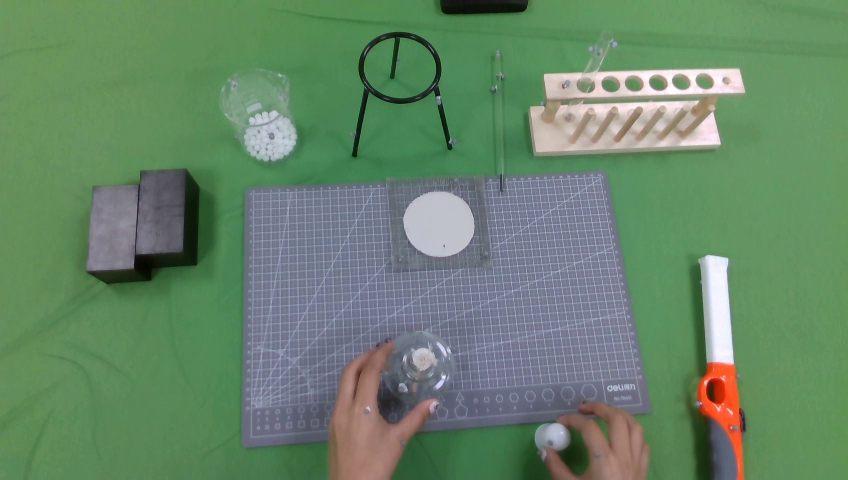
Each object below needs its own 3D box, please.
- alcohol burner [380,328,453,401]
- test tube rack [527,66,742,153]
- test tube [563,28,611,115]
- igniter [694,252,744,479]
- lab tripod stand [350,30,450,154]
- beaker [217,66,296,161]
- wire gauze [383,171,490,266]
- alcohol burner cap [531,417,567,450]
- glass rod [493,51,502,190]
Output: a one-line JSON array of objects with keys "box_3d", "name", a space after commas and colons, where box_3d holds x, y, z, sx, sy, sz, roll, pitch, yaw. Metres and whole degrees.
[{"box_3d": [-0.007, 0.126, 0.627, 0.078, 0.119, 0.077, 2, 70, -5], "name": "alcohol burner"}, {"box_3d": [0.259, -0.161, 0.755, 0.243, 0.085, 0.066, -3, 72, -5], "name": "test tube rack"}, {"box_3d": [0.187, -0.191, 0.708, 0.017, 0.151, 0.017, 1, 69, -2], "name": "test tube"}, {"box_3d": [0.334, 0.148, 0.692, 0.057, 0.025, 0.275, 9, 72, -12], "name": "igniter"}, {"box_3d": [-0.033, -0.172, 0.713, 0.148, 0.132, 0.147, 1, 71, -2], "name": "lab tripod stand"}, {"box_3d": [-0.189, -0.145, 0.711, 0.084, 0.101, 0.073, -42, 79, -16], "name": "beaker"}, {"box_3d": [0.015, -0.027, 0.733, 0.125, 0.011, 0.120, -2, 71, -3], "name": "wire gauze"}, {"box_3d": [0.137, 0.207, 0.652, 0.034, 0.048, 0.033, 3, 66, -6], "name": "alcohol burner cap"}, {"box_3d": [0.095, -0.156, 0.781, 0.008, 0.008, 0.198, 2, 74, -4], "name": "glass rod"}]
